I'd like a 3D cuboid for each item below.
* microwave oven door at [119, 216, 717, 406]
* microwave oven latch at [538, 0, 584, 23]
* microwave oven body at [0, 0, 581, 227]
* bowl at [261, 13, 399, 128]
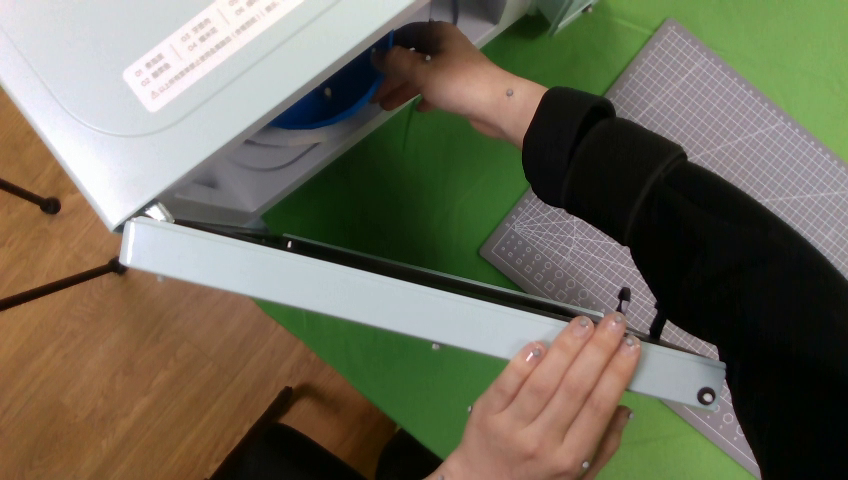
[{"bbox_3d":[-0.002,0.039,0.463,0.356,0.243,0.039,14,90,-1],"label":"microwave oven door"},{"bbox_3d":[0.146,-0.238,0.562,0.079,0.029,0.030,-35,91,0],"label":"microwave oven latch"},{"bbox_3d":[-0.085,-0.248,0.462,0.441,0.260,0.326,-37,91,0],"label":"microwave oven body"},{"bbox_3d":[-0.095,-0.159,0.490,0.151,0.077,0.151,0,89,-3],"label":"bowl"}]
